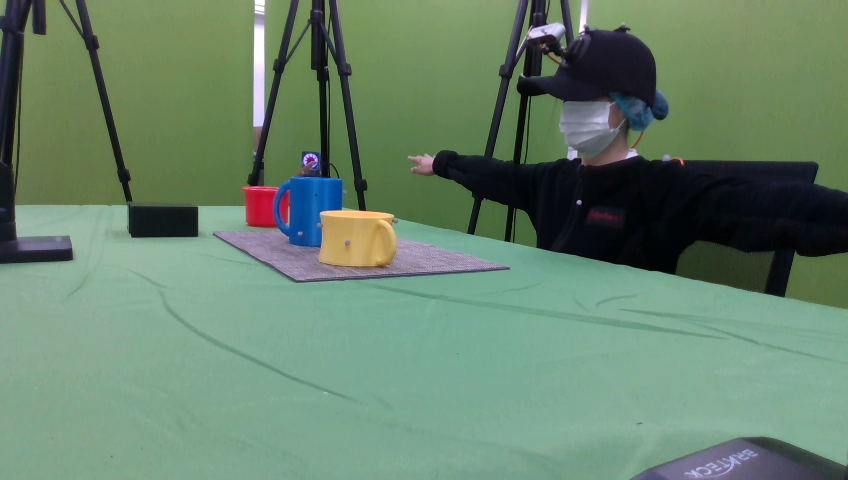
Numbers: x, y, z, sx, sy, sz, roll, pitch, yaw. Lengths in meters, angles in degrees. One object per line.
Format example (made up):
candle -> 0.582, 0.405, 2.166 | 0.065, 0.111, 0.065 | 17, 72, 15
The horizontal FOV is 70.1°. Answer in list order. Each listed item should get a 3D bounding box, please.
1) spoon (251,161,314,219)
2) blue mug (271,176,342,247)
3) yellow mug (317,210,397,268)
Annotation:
spoon -> -0.280, -0.097, 1.194 | 0.193, 0.021, 0.042 | -43, -16, 26
blue mug -> -0.190, -0.047, 0.963 | 0.116, 0.106, 0.082 | 4, 7, 13
yellow mug -> -0.081, -0.001, 0.796 | 0.100, 0.064, 0.130 | -4, 11, -45
